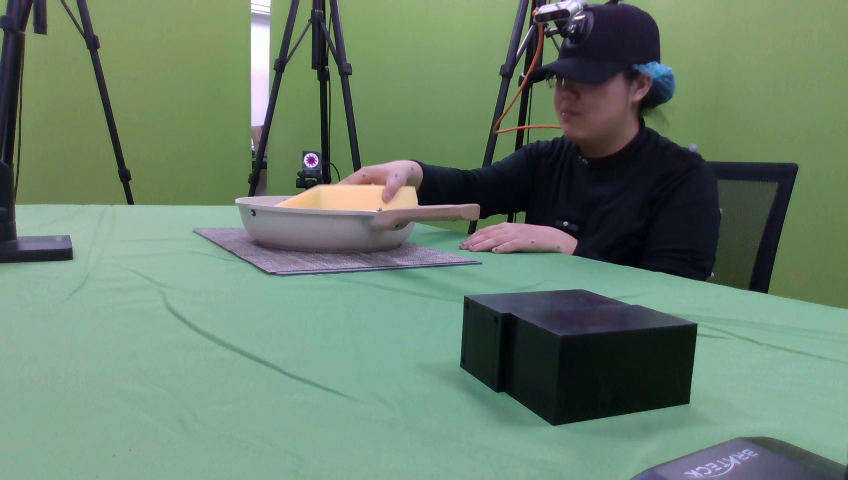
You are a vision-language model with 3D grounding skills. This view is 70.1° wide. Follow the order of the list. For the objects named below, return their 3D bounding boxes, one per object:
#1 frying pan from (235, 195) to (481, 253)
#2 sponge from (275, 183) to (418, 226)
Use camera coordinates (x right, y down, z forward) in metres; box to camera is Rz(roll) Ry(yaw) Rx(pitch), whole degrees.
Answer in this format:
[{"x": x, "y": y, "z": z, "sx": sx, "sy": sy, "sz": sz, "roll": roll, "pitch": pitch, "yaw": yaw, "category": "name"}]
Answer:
[{"x": -0.090, "y": -0.034, "z": 0.891, "sx": 0.308, "sy": 0.102, "sz": 0.485, "roll": -4, "pitch": 2, "yaw": -36, "category": "frying pan"}, {"x": -0.118, "y": -0.042, "z": 0.948, "sx": 0.118, "sy": 0.061, "sz": 0.208, "roll": -19, "pitch": -8, "yaw": 38, "category": "sponge"}]
